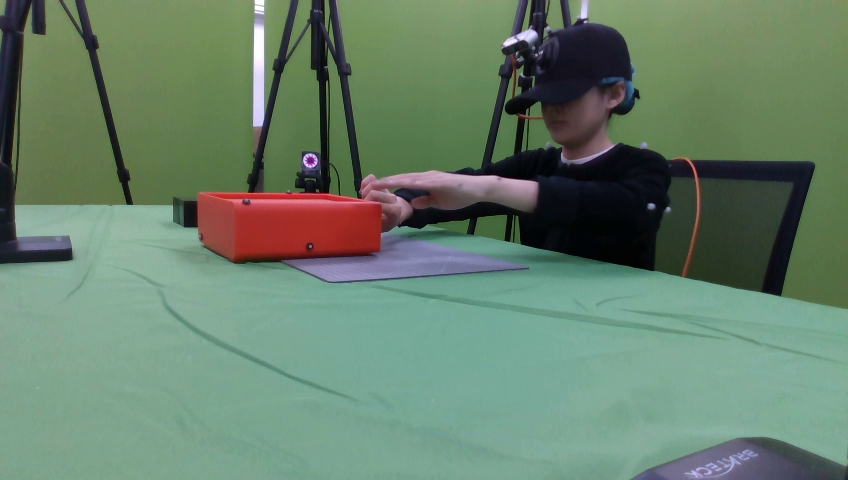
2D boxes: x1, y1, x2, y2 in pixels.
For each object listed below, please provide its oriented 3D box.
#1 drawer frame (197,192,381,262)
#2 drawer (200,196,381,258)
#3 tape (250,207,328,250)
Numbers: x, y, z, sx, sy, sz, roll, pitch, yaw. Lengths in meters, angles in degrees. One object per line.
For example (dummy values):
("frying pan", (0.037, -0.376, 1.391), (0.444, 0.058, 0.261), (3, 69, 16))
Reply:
("drawer frame", (-0.202, -0.026, 0.892), (0.215, 0.082, 0.200), (-3, 10, -34))
("drawer", (-0.200, -0.024, 0.893), (0.213, 0.073, 0.193), (-3, 10, -33))
("tape", (-0.202, -0.019, 0.902), (0.117, 0.052, 0.117), (3, 8, 0))
